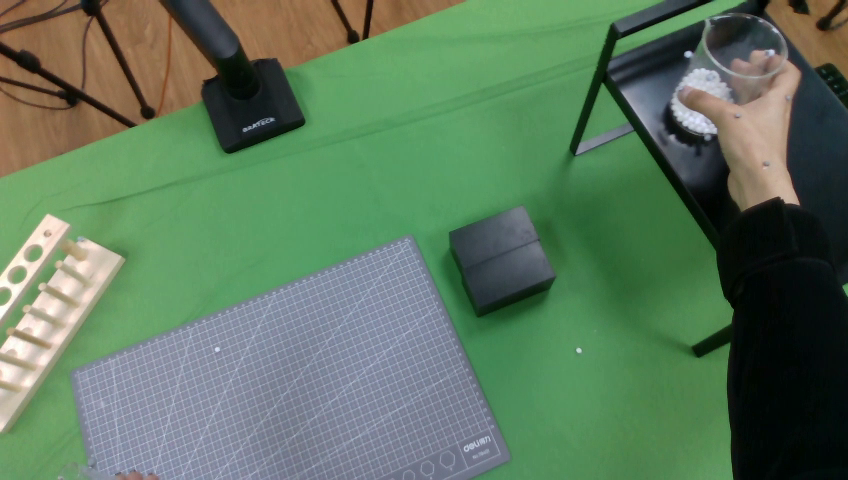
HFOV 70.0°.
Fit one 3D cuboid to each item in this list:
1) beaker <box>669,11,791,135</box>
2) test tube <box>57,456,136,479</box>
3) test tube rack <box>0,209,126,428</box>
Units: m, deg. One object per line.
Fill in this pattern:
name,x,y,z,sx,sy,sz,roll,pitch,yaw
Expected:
beaker,0.284,-0.157,0.581,0.074,0.101,0.083,-30,70,-13
test tube,-0.224,0.188,0.458,0.017,0.151,0.017,-4,57,6
test tube rack,-0.471,0.092,0.717,0.066,0.086,0.241,24,72,11
